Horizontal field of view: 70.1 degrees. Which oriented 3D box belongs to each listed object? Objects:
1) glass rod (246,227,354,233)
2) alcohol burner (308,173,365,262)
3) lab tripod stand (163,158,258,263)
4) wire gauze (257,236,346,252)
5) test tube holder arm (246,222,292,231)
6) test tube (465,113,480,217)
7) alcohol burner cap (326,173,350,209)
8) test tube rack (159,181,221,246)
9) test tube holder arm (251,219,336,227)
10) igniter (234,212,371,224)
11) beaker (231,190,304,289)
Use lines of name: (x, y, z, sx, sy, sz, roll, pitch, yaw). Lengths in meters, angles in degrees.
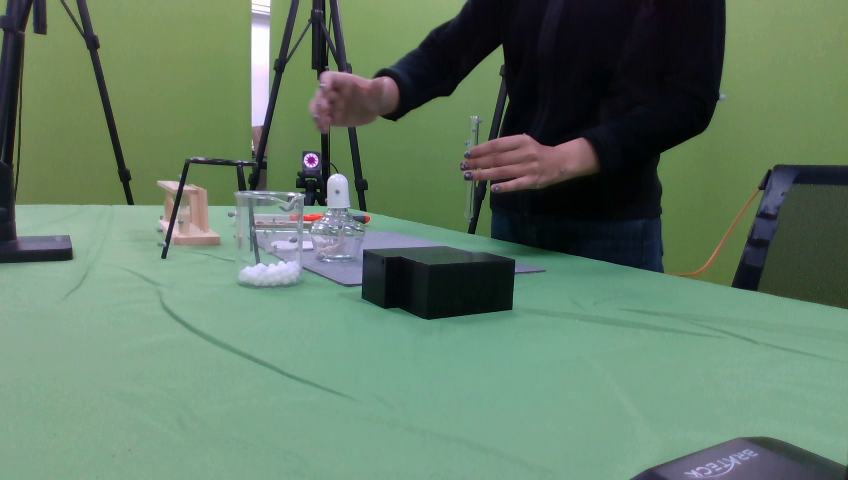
glass rod: (-0.224, -0.017, 1.108, 0.201, 0.008, 0.008, 1, 7, -26)
alcohol burner: (-0.117, -0.030, 0.813, 0.078, 0.119, 0.078, 4, 9, 0)
lab tripod stand: (-0.264, -0.041, 0.802, 0.148, 0.131, 0.148, 4, 7, 0)
wire gauze: (-0.189, 0.005, 0.931, 0.122, 0.011, 0.124, 1, 7, -21)
test tube holder arm: (-0.291, -0.026, 1.130, 0.088, 0.015, 0.010, -2, 46, -30)
test tube: (0.071, -0.109, 0.883, 0.017, 0.150, 0.017, 2, 5, 0)
alcohol burner cap: (-0.116, -0.065, 0.808, 0.034, 0.048, 0.034, -3, 10, 1)
test tube rack: (-0.395, -0.050, 1.010, 0.067, 0.085, 0.241, -2, 8, -28)
test tube holder arm: (-0.254, -0.031, 1.157, 0.179, 0.015, 0.013, -3, 46, -31)
igniter: (-0.245, -0.045, 1.248, 0.278, 0.025, 0.057, -1, -2, -25)
beaker: (-0.166, -0.001, 0.653, 0.074, 0.100, 0.083, -4, 11, -40)
